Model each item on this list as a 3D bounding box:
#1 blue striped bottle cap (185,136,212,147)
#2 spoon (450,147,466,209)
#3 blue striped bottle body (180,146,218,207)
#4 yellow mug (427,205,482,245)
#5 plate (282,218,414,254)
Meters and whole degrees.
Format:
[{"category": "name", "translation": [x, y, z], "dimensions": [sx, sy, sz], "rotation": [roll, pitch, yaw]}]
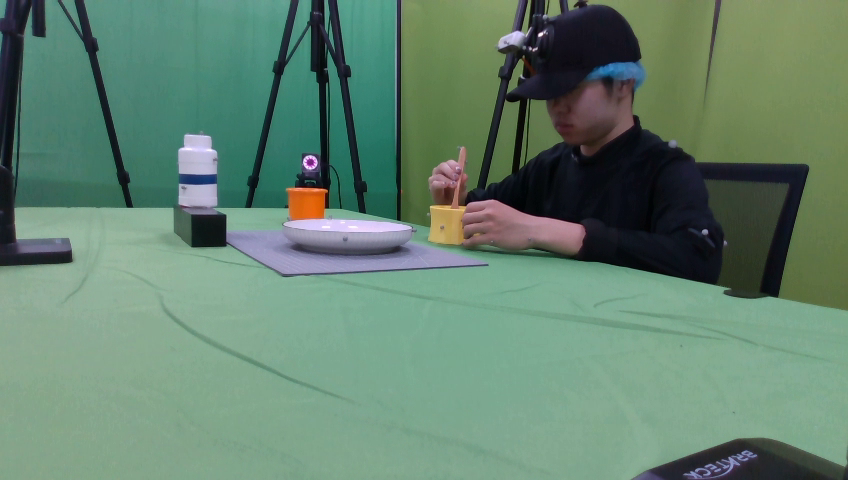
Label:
[{"category": "blue striped bottle cap", "translation": [-0.390, -0.169, 1.047], "dimensions": [0.044, 0.020, 0.044], "rotation": [4, 10, 0]}, {"category": "spoon", "translation": [0.063, -0.092, 1.144], "dimensions": [0.041, 0.193, 0.022], "rotation": [4, -16, 20]}, {"category": "blue striped bottle body", "translation": [-0.392, -0.118, 1.053], "dimensions": [0.063, 0.120, 0.063], "rotation": [2, 8, 0]}, {"category": "yellow mug", "translation": [0.062, -0.028, 1.111], "dimensions": [0.100, 0.064, 0.130], "rotation": [-1, 9, -20]}, {"category": "plate", "translation": [-0.121, -0.007, 0.971], "dimensions": [0.208, 0.039, 0.207], "rotation": [2, 7, 0]}]
